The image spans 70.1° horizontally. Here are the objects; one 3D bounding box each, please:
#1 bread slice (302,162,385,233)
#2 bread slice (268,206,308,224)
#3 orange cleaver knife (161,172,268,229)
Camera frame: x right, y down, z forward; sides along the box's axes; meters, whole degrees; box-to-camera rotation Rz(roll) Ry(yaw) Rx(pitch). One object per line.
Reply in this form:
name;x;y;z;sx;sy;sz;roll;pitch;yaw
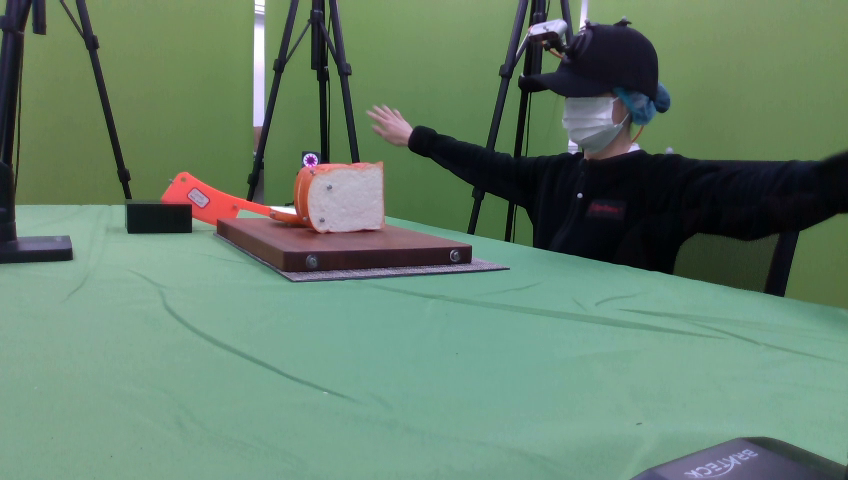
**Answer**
bread slice;-0.120;-0.059;0.918;0.135;0.107;0.018;-12;15;-34
bread slice;-0.195;-0.040;1.015;0.132;0.019;0.104;2;8;-37
orange cleaver knife;-0.372;-0.061;1.121;0.212;0.077;0.012;20;-5;-30
